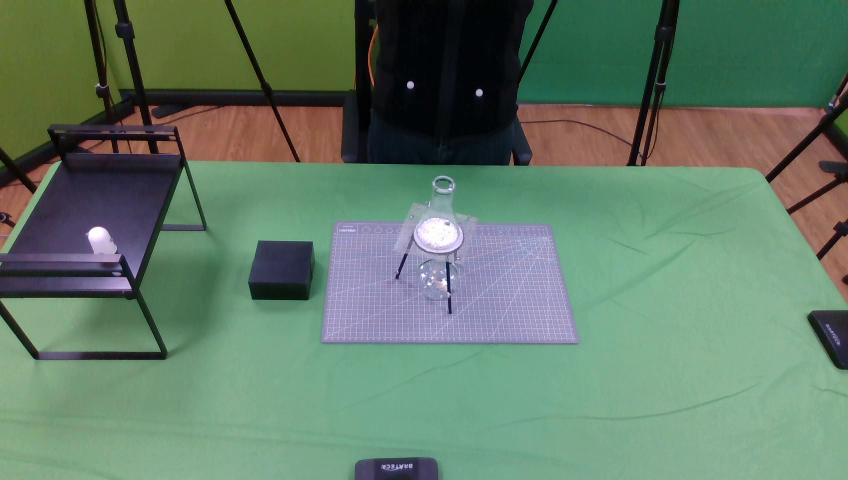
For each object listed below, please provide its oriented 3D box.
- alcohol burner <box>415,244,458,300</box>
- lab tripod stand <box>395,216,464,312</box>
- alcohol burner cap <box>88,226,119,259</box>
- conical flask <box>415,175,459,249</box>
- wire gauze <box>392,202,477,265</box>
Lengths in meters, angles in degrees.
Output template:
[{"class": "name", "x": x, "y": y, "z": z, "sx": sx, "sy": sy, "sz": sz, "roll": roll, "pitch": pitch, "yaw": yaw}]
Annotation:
[{"class": "alcohol burner", "x": 0.024, "y": 0.051, "z": 1.084, "sx": 0.078, "sy": 0.119, "sz": 0.077, "roll": 3, "pitch": 45, "yaw": -3}, {"class": "lab tripod stand", "x": 0.023, "y": 0.037, "z": 1.084, "sx": 0.148, "sy": 0.132, "sz": 0.147, "roll": 4, "pitch": 47, "yaw": -4}, {"class": "alcohol burner cap", "x": -0.476, "y": 0.002, "z": 0.895, "sx": 0.034, "sy": 0.048, "sz": 0.033, "roll": 1, "pitch": 46, "yaw": -1}, {"class": "conical flask", "x": 0.026, "y": -0.049, "z": 0.993, "sx": 0.075, "sy": 0.122, "sz": 0.075, "roll": 3, "pitch": 47, "yaw": -3}, {"class": "wire gauze", "x": 0.021, "y": -0.011, "z": 1.037, "sx": 0.121, "sy": 0.011, "sz": 0.124, "roll": 13, "pitch": 49, "yaw": 8}]
